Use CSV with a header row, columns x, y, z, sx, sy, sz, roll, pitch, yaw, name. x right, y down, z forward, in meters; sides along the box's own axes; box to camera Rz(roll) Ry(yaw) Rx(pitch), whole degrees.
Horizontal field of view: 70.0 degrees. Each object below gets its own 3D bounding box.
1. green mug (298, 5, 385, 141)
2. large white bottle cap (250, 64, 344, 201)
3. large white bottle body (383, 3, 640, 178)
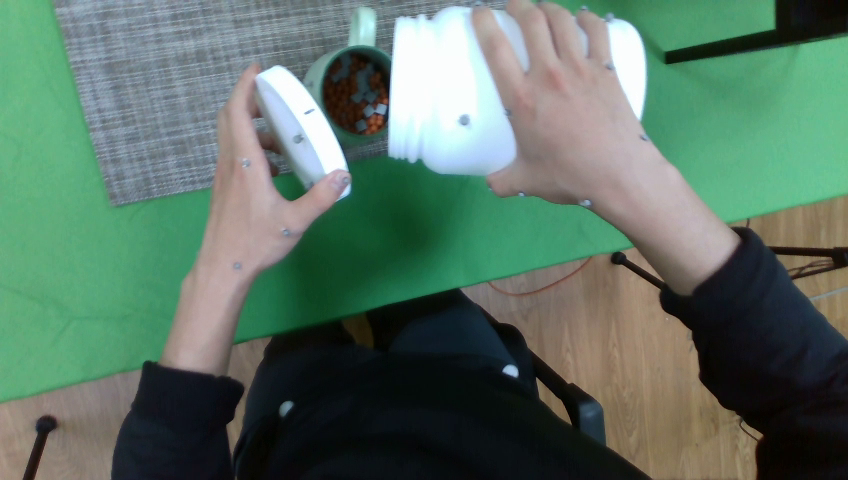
x,y,z,sx,sy,sz,roll,pitch,yaw,name
-0.069,-0.157,0.573,0.093,0.104,0.125,4,99,-17,green mug
-0.103,-0.084,0.488,0.018,0.114,0.115,-34,108,-18,large white bottle cap
0.061,-0.119,0.488,0.185,0.130,0.131,3,99,-3,large white bottle body
